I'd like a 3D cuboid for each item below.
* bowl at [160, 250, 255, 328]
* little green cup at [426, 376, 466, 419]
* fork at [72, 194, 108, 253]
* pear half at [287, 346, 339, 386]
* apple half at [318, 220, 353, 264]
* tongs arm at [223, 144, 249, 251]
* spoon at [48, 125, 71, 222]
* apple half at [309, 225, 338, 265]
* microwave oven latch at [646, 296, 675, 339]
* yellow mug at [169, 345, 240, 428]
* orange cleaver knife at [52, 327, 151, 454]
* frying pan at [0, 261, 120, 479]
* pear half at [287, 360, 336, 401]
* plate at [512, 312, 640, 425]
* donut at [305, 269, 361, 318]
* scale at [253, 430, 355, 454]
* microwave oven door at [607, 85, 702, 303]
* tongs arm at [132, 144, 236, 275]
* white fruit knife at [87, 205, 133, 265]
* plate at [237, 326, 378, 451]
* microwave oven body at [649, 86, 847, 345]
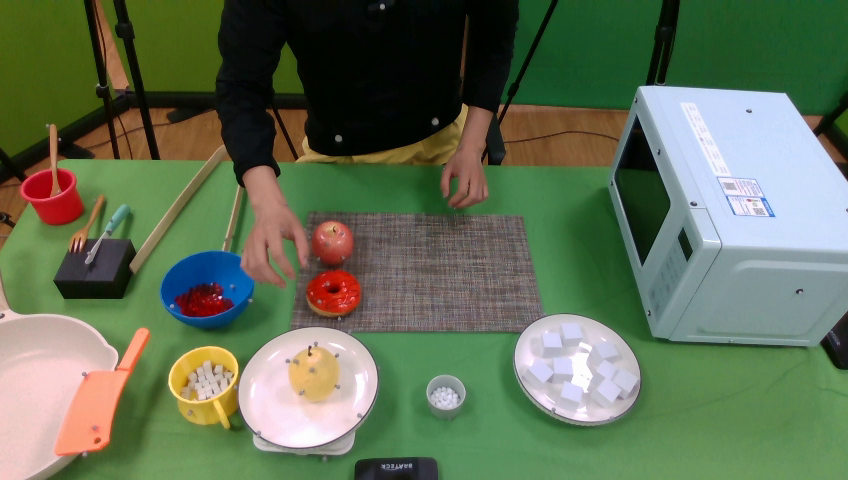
[{"bbox_3d":[-0.362,0.098,1.039,0.151,0.077,0.150,2,45,-2],"label":"bowl"},{"bbox_3d":[0.033,0.248,0.950,0.061,0.039,0.061,2,46,-2],"label":"little green cup"},{"bbox_3d":[-0.634,-0.036,1.158,0.028,0.019,0.206,-8,31,-8],"label":"fork"},{"bbox_3d":[-0.164,0.179,0.899,0.076,0.110,0.055,1,46,-7],"label":"pear half"},{"bbox_3d":[-0.162,0.001,1.144,0.053,0.075,0.080,-25,50,-29],"label":"apple half"},{"bbox_3d":[-0.397,-0.073,1.232,0.051,0.027,0.382,-3,45,1],"label":"tongs arm"},{"bbox_3d":[-0.718,-0.131,1.188,0.041,0.021,0.193,-3,90,-7],"label":"spoon"},{"bbox_3d":[-0.193,0.017,1.125,0.033,0.081,0.081,-27,53,-31],"label":"apple half"},{"bbox_3d":[0.412,0.134,1.061,0.030,0.029,0.078,4,45,1],"label":"microwave oven latch"},{"bbox_3d":[-0.323,0.230,0.922,0.100,0.064,0.130,-24,53,-25],"label":"yellow mug"},{"bbox_3d":[-0.462,0.212,0.879,0.077,0.012,0.210,7,45,-2],"label":"orange cleaver knife"},{"bbox_3d":[-0.647,0.164,0.936,0.307,0.103,0.485,-19,58,-22],"label":"frying pan"},{"bbox_3d":[-0.164,0.211,0.882,0.070,0.088,0.031,0,46,-7],"label":"pear half"},{"bbox_3d":[0.246,0.213,0.999,0.208,0.039,0.206,2,46,-2],"label":"plate"},{"bbox_3d":[-0.160,0.095,1.075,0.099,0.048,0.098,3,45,-3],"label":"donut"},{"bbox_3d":[-0.175,0.236,0.951,0.149,0.032,0.199,4,45,0],"label":"scale"},{"bbox_3d":[0.423,-0.094,1.140,0.039,0.245,0.353,2,46,-1],"label":"microwave oven door"},{"bbox_3d":[-0.483,-0.075,1.237,0.028,0.028,0.385,5,45,14],"label":"tongs arm"},{"bbox_3d":[-0.584,-0.013,1.129,0.016,0.027,0.206,-1,31,-4],"label":"white fruit knife"},{"bbox_3d":[-0.174,0.224,0.917,0.209,0.038,0.208,2,46,-2],"label":"plate"},{"bbox_3d":[0.567,-0.053,1.118,0.326,0.261,0.439,2,45,-1],"label":"microwave oven body"}]
